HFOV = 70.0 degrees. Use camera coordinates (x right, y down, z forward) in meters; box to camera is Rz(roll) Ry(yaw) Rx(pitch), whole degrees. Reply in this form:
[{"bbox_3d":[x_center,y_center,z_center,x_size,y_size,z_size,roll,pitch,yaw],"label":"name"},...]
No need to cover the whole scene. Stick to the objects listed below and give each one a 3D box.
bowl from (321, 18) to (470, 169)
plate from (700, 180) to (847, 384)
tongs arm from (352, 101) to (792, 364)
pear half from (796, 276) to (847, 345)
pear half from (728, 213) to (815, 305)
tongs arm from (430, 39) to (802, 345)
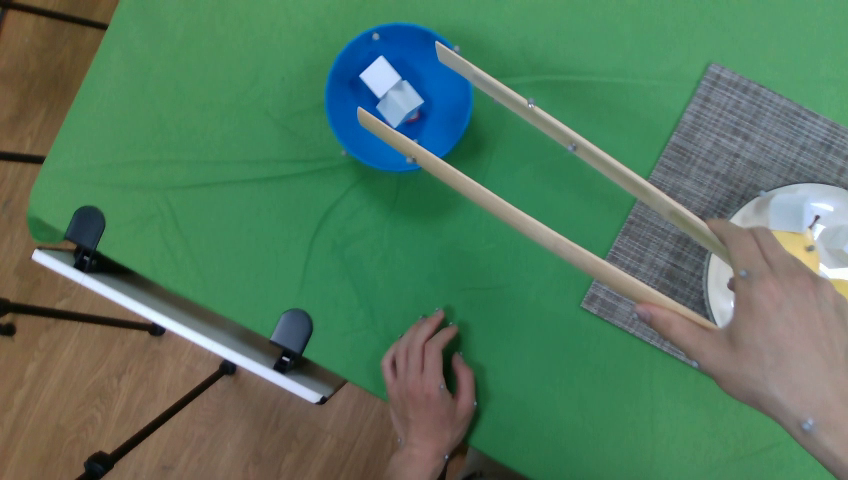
[{"bbox_3d":[-0.026,-0.144,0.642,0.151,0.077,0.151,0,89,4],"label":"bowl"},{"bbox_3d":[0.390,0.042,0.629,0.207,0.039,0.207,0,89,4],"label":"plate"},{"bbox_3d":[0.087,-0.017,0.474,0.385,0.028,0.028,34,65,21],"label":"tongs arm"},{"bbox_3d":[0.428,0.072,0.621,0.088,0.031,0.070,-31,91,9],"label":"pear half"},{"bbox_3d":[0.369,0.013,0.617,0.076,0.056,0.110,38,88,0],"label":"pear half"},{"bbox_3d":[0.127,-0.054,0.490,0.381,0.027,0.050,40,70,23],"label":"tongs arm"}]
